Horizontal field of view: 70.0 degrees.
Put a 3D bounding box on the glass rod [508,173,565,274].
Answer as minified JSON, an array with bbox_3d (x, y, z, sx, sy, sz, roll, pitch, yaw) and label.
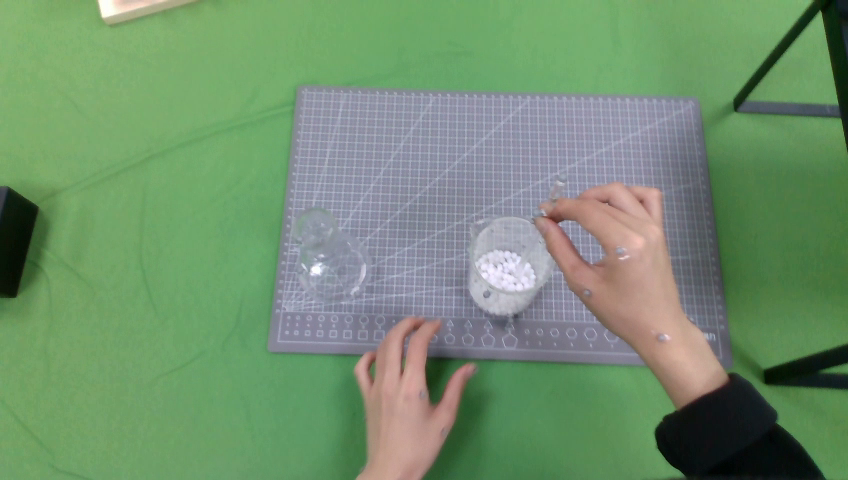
[{"bbox_3d":[0.085,-0.006,0.483,0.008,0.201,0.008,1,69,-1],"label":"glass rod"}]

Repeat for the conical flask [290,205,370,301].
[{"bbox_3d":[-0.092,0.007,0.558,0.075,0.122,0.075,0,70,0],"label":"conical flask"}]

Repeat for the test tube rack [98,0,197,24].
[{"bbox_3d":[-0.270,-0.334,0.696,0.242,0.085,0.066,-18,72,-6],"label":"test tube rack"}]

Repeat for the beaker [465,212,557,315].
[{"bbox_3d":[0.073,0.025,0.565,0.083,0.101,0.074,38,75,13],"label":"beaker"}]
